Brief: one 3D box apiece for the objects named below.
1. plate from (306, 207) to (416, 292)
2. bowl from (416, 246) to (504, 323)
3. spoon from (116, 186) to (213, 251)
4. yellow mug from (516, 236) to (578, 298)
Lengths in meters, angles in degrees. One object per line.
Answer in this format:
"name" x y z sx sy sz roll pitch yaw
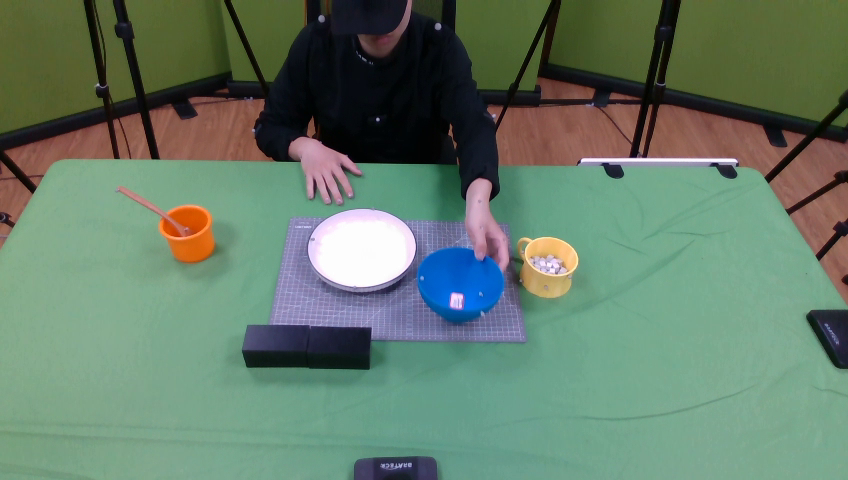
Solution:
"plate" -0.119 0.021 1.153 0.209 0.038 0.208 2 46 -2
"bowl" 0.058 0.090 1.047 0.151 0.077 0.150 3 44 -3
"spoon" -0.474 -0.041 1.112 0.021 0.195 0.041 -31 31 29
"yellow mug" 0.223 0.041 1.145 0.100 0.064 0.130 -30 54 -28
